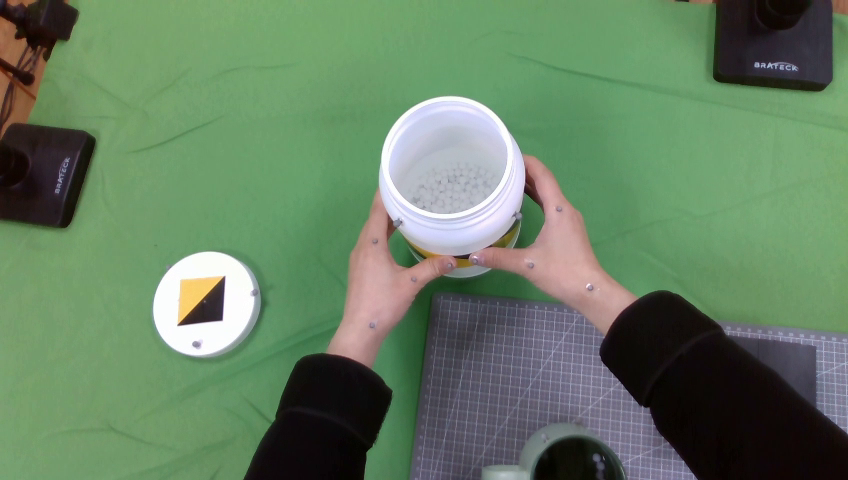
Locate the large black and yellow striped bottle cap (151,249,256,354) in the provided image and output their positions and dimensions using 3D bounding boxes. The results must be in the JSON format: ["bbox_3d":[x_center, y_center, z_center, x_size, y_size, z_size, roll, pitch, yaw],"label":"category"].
[{"bbox_3d":[-0.242,0.066,0.663,0.115,0.019,0.114,-2,75,6],"label":"large black and yellow striped bottle cap"}]

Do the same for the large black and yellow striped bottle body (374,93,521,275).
[{"bbox_3d":[0.026,-0.047,0.576,0.130,0.185,0.130,-2,75,6],"label":"large black and yellow striped bottle body"}]

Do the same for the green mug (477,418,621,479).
[{"bbox_3d":[0.110,0.210,0.544,0.125,0.105,0.092,-3,75,6],"label":"green mug"}]
